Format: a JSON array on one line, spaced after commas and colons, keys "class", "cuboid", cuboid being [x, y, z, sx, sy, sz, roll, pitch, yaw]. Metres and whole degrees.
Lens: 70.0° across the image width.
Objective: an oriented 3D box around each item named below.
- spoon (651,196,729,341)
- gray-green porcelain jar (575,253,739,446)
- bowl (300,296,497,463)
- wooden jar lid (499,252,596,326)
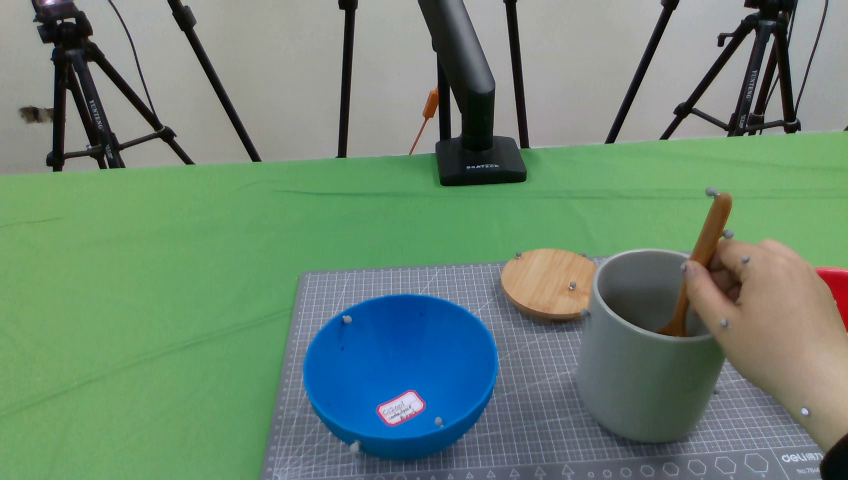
[{"class": "spoon", "cuboid": [0.192, 0.047, 0.446, 0.021, 0.195, 0.041, -24, 47, -17]}, {"class": "gray-green porcelain jar", "cuboid": [0.177, 0.090, 0.481, 0.106, 0.127, 0.105, -1, 36, 1]}, {"class": "bowl", "cuboid": [-0.018, 0.123, 0.485, 0.151, 0.077, 0.150, -1, 36, 1]}, {"class": "wooden jar lid", "cuboid": [0.132, 0.052, 0.630, 0.108, 0.021, 0.107, -1, 34, 1]}]
